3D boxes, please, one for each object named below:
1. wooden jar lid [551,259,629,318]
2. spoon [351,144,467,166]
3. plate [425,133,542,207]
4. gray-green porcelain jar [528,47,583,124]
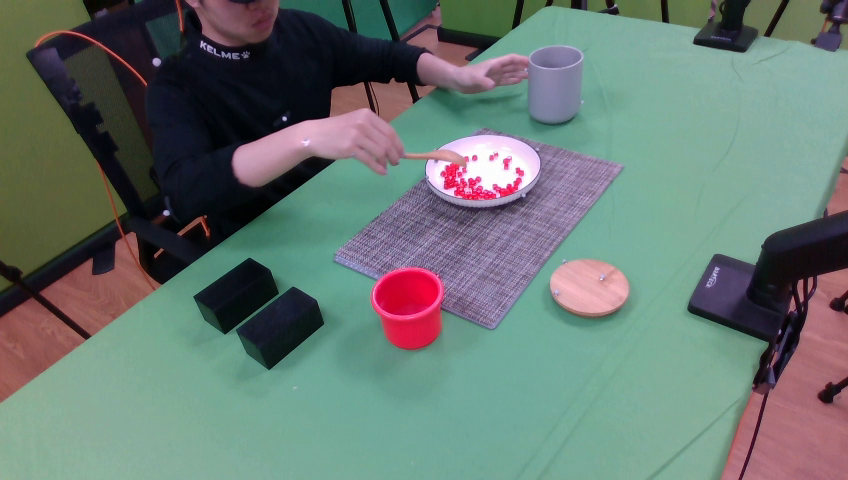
[{"bbox_3d":[0.234,0.070,0.857,0.108,0.021,0.108,-5,40,5],"label":"wooden jar lid"},{"bbox_3d":[-0.019,-0.127,0.910,0.195,0.021,0.041,0,12,-30],"label":"spoon"},{"bbox_3d":[0.106,-0.122,1.079,0.207,0.039,0.206,-4,41,4],"label":"plate"},{"bbox_3d":[0.260,-0.305,1.207,0.106,0.127,0.105,-4,41,4],"label":"gray-green porcelain jar"}]
